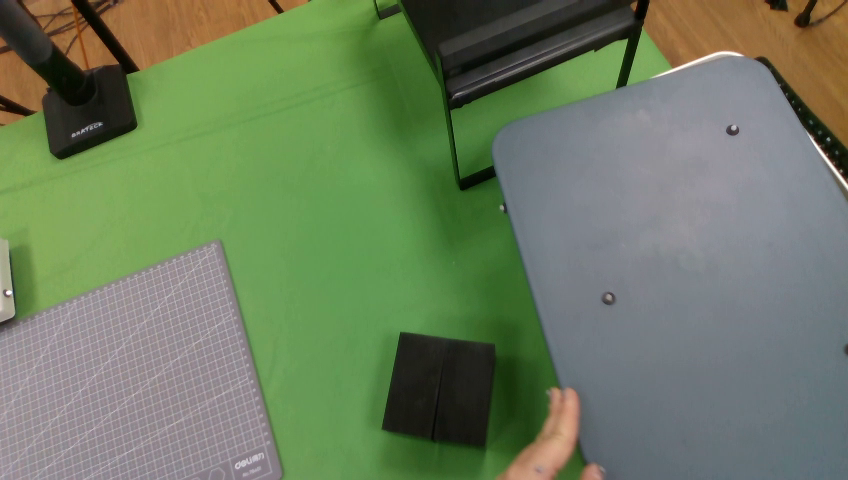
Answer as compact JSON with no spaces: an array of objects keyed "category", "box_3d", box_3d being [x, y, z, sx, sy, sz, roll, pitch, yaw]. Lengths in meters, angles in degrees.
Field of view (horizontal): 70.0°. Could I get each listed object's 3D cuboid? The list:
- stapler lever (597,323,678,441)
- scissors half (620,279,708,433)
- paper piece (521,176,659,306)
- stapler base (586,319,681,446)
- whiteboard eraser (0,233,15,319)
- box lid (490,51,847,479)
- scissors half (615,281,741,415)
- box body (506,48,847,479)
[{"category":"stapler lever","box_3d":[0.209,0.136,0.596,0.027,0.040,0.117,-27,69,4]},{"category":"scissors half","box_3d":[0.243,0.116,0.633,0.040,0.013,0.173,-16,60,2]},{"category":"paper piece","box_3d":[0.193,-0.002,0.703,0.136,0.009,0.137,-11,79,-5]},{"category":"stapler base","box_3d":[0.212,0.142,0.618,0.041,0.024,0.129,-27,72,4]},{"category":"whiteboard eraser","box_3d":[-0.539,0.047,0.747,0.055,0.042,0.111,-23,67,-2]},{"category":"box lid","box_3d":[0.218,0.010,0.496,0.263,0.015,0.368,-16,63,6]},{"category":"scissors half","box_3d":[0.262,0.107,0.635,0.040,0.013,0.173,-33,62,-14]},{"category":"box body","box_3d":[0.263,0.033,0.588,0.254,0.161,0.361,-23,67,-2]}]
